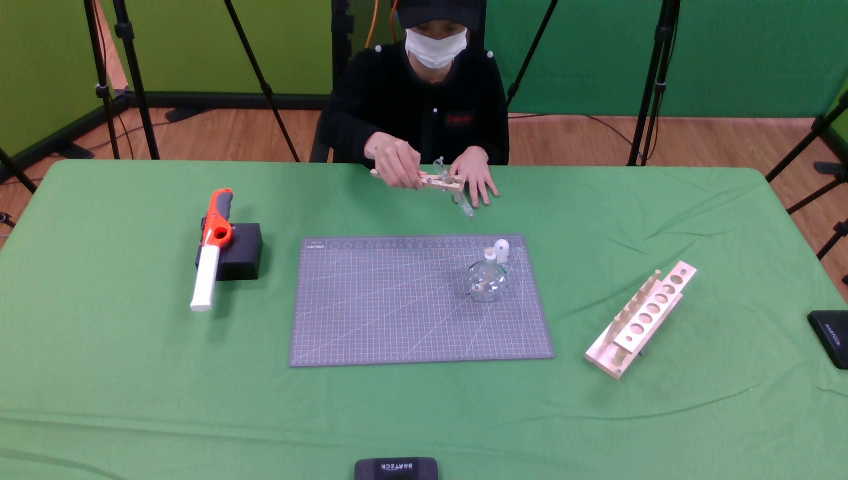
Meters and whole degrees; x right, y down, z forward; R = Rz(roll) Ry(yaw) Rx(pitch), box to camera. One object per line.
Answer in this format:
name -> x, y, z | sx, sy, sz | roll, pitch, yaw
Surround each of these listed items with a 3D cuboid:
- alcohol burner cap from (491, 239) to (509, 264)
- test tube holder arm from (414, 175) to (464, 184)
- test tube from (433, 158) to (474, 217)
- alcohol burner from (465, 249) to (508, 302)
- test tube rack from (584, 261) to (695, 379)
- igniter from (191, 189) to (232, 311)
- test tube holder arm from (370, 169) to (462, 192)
alcohol burner cap -> 0.150, 0.020, 1.174 | 0.034, 0.048, 0.033 | 2, 46, -2
test tube holder arm -> 0.024, -0.100, 0.990 | 0.087, 0.015, 0.010 | 3, 61, 27
test tube -> 0.050, -0.082, 0.993 | 0.017, 0.151, 0.017 | -14, 53, 20
alcohol burner -> 0.114, 0.057, 1.085 | 0.078, 0.120, 0.077 | 2, 48, -2
test tube rack -> 0.380, 0.127, 1.062 | 0.066, 0.085, 0.242 | 34, 53, 26
igniter -> -0.381, 0.008, 1.092 | 0.057, 0.025, 0.274 | -1, 50, -7
test tube holder arm -> -0.017, -0.101, 1.010 | 0.178, 0.015, 0.013 | 12, 65, 30
